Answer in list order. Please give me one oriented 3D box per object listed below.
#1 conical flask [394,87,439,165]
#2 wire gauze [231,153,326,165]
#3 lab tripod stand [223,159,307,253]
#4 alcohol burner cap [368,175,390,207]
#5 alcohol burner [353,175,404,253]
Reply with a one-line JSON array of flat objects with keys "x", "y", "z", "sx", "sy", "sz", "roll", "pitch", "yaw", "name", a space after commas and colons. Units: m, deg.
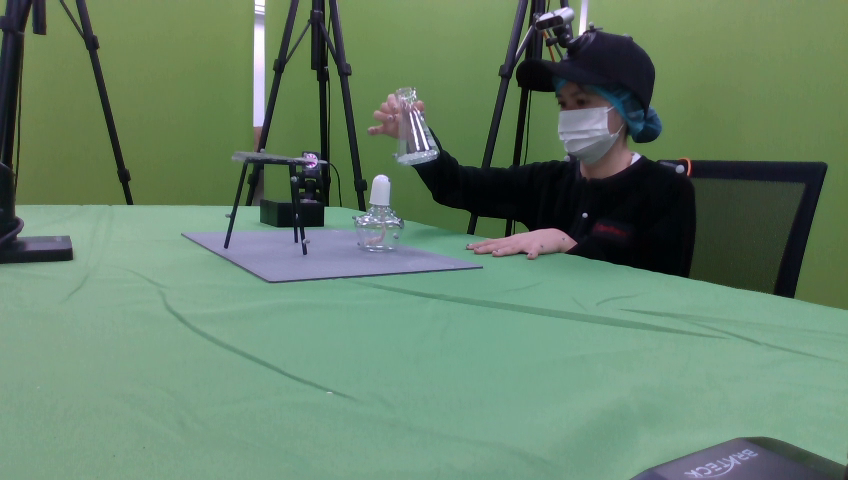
[{"x": -0.021, "y": -0.189, "z": 1.003, "sx": 0.075, "sy": 0.122, "sz": 0.075, "roll": -10, "pitch": 2, "yaw": 1, "name": "conical flask"}, {"x": -0.215, "y": -0.118, "z": 0.881, "sx": 0.125, "sy": 0.011, "sz": 0.121, "roll": 1, "pitch": 7, "yaw": -19, "name": "wire gauze"}, {"x": -0.220, "y": -0.053, "z": 0.896, "sx": 0.148, "sy": 0.131, "sz": 0.148, "roll": 1, "pitch": 6, "yaw": 0, "name": "lab tripod stand"}, {"x": -0.067, "y": -0.075, "z": 0.923, "sx": 0.034, "sy": 0.048, "sz": 0.034, "roll": 8, "pitch": 11, "yaw": -1, "name": "alcohol burner cap"}, {"x": -0.069, "y": -0.040, "z": 0.926, "sx": 0.078, "sy": 0.119, "sz": 0.078, "roll": 1, "pitch": 9, "yaw": 0, "name": "alcohol burner"}]
